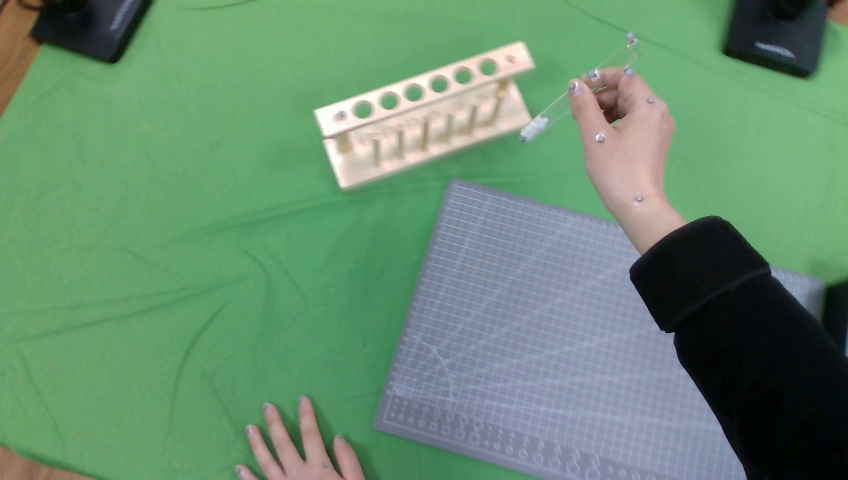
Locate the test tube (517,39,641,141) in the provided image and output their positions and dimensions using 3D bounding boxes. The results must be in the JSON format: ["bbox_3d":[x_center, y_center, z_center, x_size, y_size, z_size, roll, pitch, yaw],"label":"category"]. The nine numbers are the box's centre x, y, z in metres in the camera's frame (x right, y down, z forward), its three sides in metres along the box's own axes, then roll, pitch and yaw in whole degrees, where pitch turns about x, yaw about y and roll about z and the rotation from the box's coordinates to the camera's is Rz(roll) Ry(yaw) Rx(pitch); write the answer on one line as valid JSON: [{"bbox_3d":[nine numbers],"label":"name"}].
[{"bbox_3d":[0.124,-0.120,0.509,0.017,0.150,0.017,8,70,-23],"label":"test tube"}]

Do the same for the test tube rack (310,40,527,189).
[{"bbox_3d":[0.001,-0.142,0.694,0.242,0.085,0.066,-21,76,-7],"label":"test tube rack"}]
